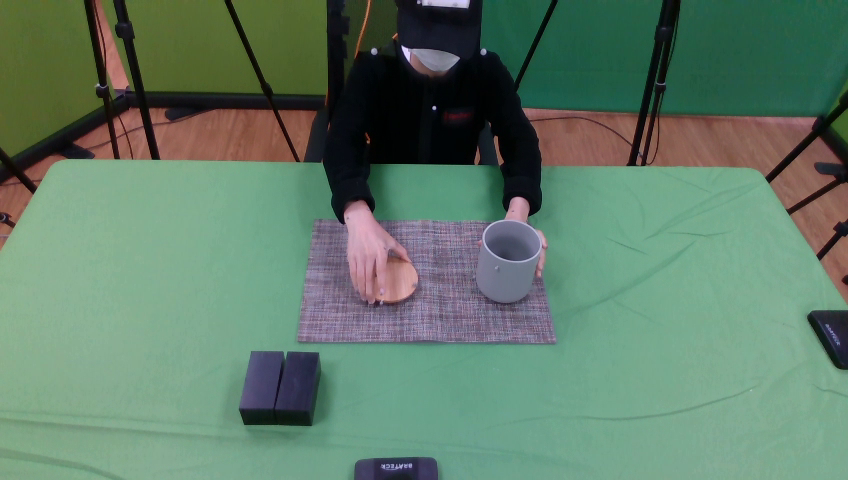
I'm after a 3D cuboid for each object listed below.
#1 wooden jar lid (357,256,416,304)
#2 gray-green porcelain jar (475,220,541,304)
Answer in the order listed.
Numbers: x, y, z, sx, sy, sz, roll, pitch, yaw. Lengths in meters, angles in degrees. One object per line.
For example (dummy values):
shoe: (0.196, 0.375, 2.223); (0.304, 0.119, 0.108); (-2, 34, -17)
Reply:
wooden jar lid: (-0.068, 0.075, 1.109); (0.108, 0.021, 0.107); (6, 48, -6)
gray-green porcelain jar: (0.148, 0.044, 1.090); (0.106, 0.127, 0.105); (2, 46, -2)
